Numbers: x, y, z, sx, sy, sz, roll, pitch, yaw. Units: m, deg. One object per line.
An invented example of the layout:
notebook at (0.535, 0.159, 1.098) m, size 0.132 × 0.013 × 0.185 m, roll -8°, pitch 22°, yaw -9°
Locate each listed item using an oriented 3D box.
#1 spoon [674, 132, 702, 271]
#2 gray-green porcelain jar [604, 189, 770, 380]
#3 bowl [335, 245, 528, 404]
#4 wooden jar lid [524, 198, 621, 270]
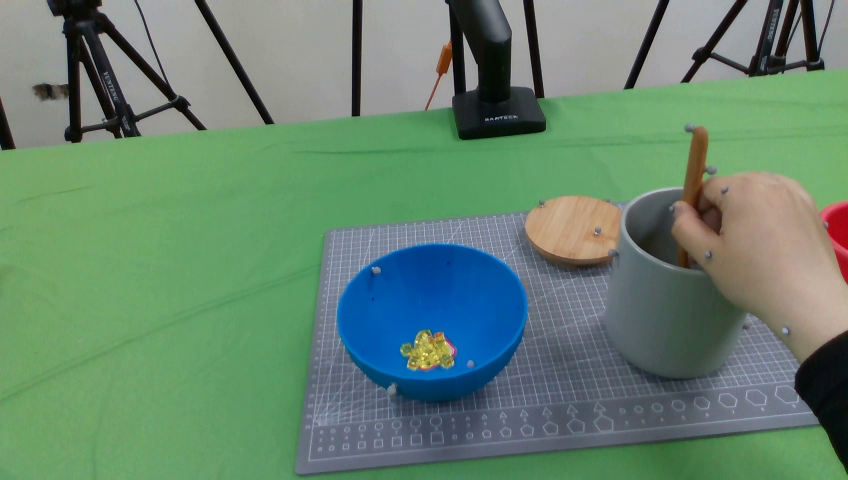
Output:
spoon at (0.194, 0.012, 0.449) m, size 0.021 × 0.195 × 0.041 m, roll -20°, pitch 33°, yaw -7°
gray-green porcelain jar at (0.202, 0.040, 0.484) m, size 0.106 × 0.128 × 0.105 m, roll -4°, pitch 39°, yaw 3°
bowl at (0.008, 0.081, 0.495) m, size 0.151 × 0.077 × 0.150 m, roll -3°, pitch 39°, yaw 3°
wooden jar lid at (0.159, -0.006, 0.631) m, size 0.108 × 0.021 × 0.107 m, roll -4°, pitch 38°, yaw 3°
